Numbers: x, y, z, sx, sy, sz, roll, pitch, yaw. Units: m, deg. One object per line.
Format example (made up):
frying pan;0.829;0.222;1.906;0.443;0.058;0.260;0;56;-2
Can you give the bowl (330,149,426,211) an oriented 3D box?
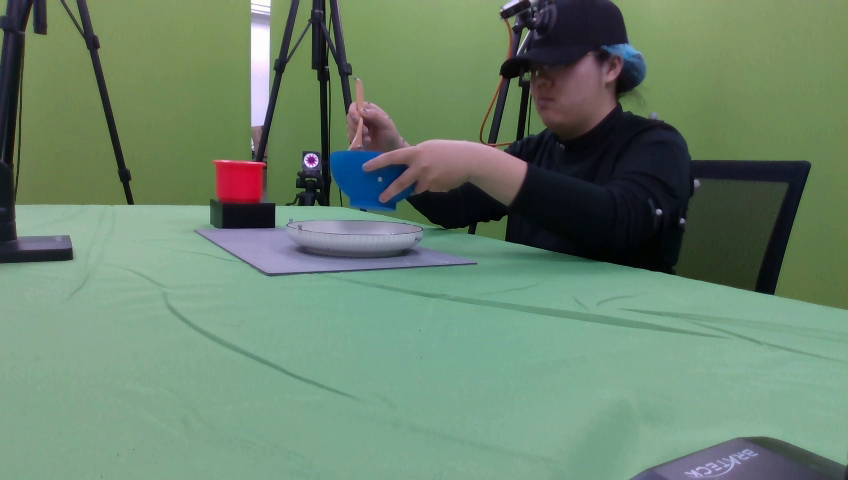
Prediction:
bowl;-0.076;-0.088;0.946;0.151;0.076;0.151;6;-3;1

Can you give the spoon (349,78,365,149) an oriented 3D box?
spoon;-0.108;-0.193;1.016;0.042;0.193;0.021;21;-30;-40

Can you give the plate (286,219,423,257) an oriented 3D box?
plate;-0.106;-0.004;0.922;0.208;0.039;0.207;3;7;0
